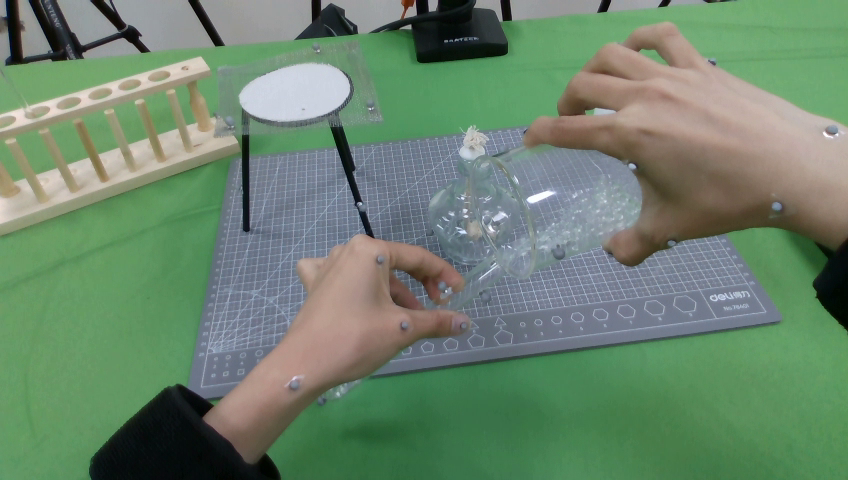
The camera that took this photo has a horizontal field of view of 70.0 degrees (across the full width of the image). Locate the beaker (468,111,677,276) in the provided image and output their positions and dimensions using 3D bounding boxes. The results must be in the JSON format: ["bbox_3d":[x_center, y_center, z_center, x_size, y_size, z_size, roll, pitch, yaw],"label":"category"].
[{"bbox_3d":[0.087,-0.028,0.355,0.100,0.085,0.073,-20,52,-14],"label":"beaker"}]

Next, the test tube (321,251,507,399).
[{"bbox_3d":[-0.009,0.057,0.388,0.150,0.017,0.017,-38,45,13],"label":"test tube"}]

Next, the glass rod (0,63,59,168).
[{"bbox_3d":[-0.373,-0.134,0.551,0.008,0.201,0.008,-1,48,2],"label":"glass rod"}]

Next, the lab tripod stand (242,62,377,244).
[{"bbox_3d":[-0.100,-0.073,0.528,0.148,0.133,0.147,-2,46,3],"label":"lab tripod stand"}]

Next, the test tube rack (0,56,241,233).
[{"bbox_3d":[-0.321,-0.101,0.610,0.243,0.086,0.066,-24,48,-20],"label":"test tube rack"}]

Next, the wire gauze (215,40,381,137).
[{"bbox_3d":[-0.104,-0.121,0.481,0.125,0.011,0.120,-11,45,-6],"label":"wire gauze"}]

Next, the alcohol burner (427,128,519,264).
[{"bbox_3d":[0.040,-0.039,0.498,0.078,0.120,0.077,-2,42,2],"label":"alcohol burner"}]

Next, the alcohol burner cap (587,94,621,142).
[{"bbox_3d":[0.190,-0.130,0.634,0.034,0.048,0.033,-2,44,2],"label":"alcohol burner cap"}]
